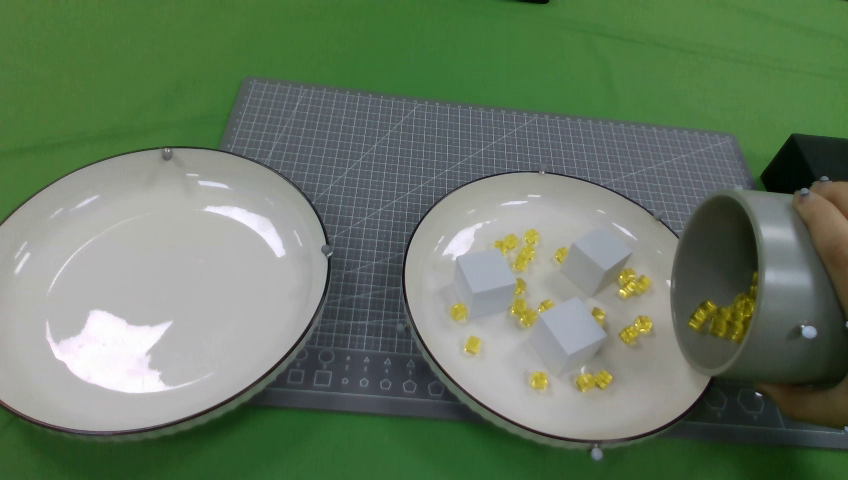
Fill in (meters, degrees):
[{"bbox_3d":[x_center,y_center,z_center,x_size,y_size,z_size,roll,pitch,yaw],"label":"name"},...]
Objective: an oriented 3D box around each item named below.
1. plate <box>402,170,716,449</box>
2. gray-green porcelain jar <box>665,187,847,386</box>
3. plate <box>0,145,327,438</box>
[{"bbox_3d":[0.087,0.040,0.403,0.208,0.039,0.205,4,51,-5],"label":"plate"},{"bbox_3d":[0.219,0.028,0.341,0.126,0.107,0.105,6,51,-1],"label":"gray-green porcelain jar"},{"bbox_3d":[-0.164,0.025,0.375,0.209,0.038,0.207,4,52,-4],"label":"plate"}]
